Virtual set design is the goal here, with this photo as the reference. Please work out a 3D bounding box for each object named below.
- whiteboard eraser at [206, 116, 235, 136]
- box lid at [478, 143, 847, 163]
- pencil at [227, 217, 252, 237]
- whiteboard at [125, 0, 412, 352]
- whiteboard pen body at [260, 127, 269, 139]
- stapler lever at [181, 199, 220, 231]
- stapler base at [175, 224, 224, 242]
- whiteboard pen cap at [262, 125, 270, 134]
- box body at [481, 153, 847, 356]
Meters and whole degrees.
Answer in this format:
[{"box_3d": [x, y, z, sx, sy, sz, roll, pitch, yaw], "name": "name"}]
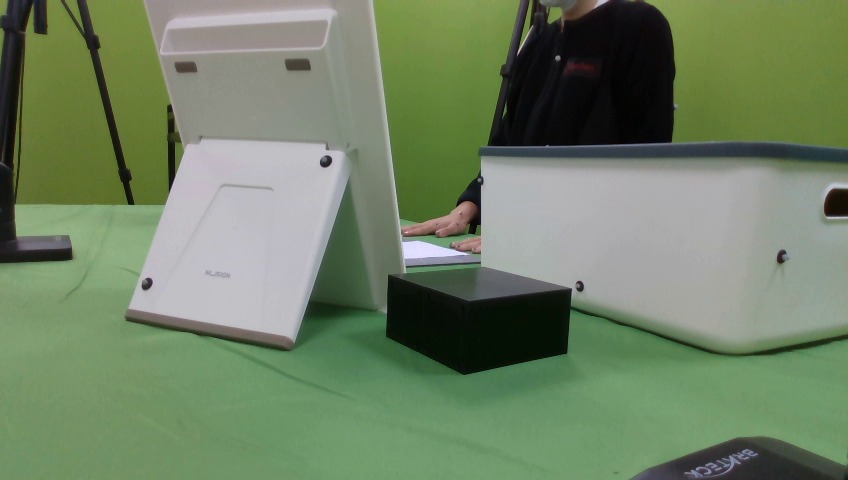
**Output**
[{"box_3d": [-0.450, -0.252, 1.335, 0.056, 0.042, 0.112, 1, 7, -22], "name": "whiteboard eraser"}, {"box_3d": [0.256, -0.084, 0.628, 0.265, 0.015, 0.369, -2, 8, -29], "name": "box lid"}, {"box_3d": [-0.333, -0.024, 1.092, 0.012, 0.012, 0.193, 2, 10, -5], "name": "pencil"}, {"box_3d": [-0.151, -0.049, 0.472, 0.216, 0.305, 0.144, 6, 27, 24], "name": "whiteboard"}, {"box_3d": [-0.366, -0.247, 1.392, 0.017, 0.017, 0.140, 0, 3, -17], "name": "whiteboard pen body"}, {"box_3d": [-0.346, -0.040, 0.942, 0.027, 0.040, 0.118, 1, 8, -3], "name": "stapler lever"}, {"box_3d": [-0.348, -0.014, 0.947, 0.041, 0.024, 0.130, 1, 7, -3], "name": "stapler base"}, {"box_3d": [-0.349, -0.244, 1.336, 0.018, 0.018, 0.033, 0, 2, -17], "name": "whiteboard pen cap"}, {"box_3d": [0.252, -0.011, 0.638, 0.255, 0.160, 0.362, -1, 8, -30], "name": "box body"}]
